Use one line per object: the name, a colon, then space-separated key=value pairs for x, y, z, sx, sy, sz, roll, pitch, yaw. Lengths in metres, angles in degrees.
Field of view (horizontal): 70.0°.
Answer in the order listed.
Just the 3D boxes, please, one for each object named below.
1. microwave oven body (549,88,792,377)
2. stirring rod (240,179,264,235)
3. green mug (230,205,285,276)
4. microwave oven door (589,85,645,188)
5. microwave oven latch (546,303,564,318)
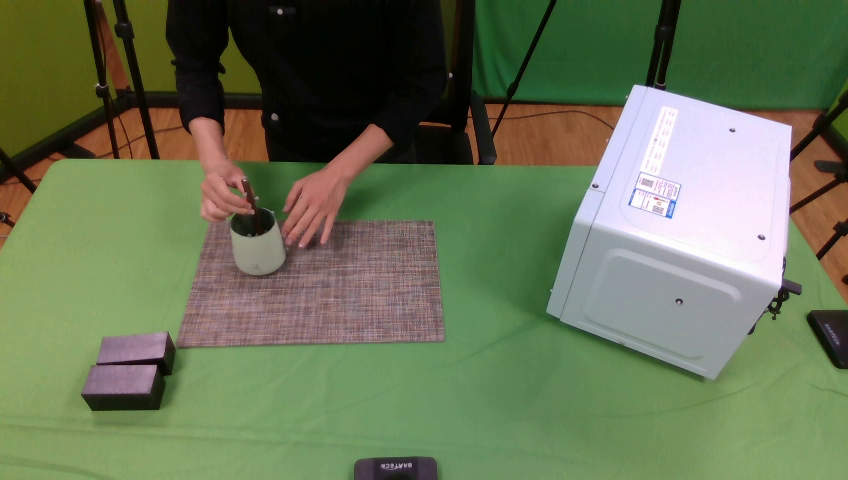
microwave oven body: x=0.456 y=-0.028 z=1.087 sx=0.325 sy=0.261 sz=0.440 roll=20 pitch=47 yaw=16
stirring rod: x=-0.300 y=-0.046 z=1.072 sx=0.014 sy=0.177 sz=0.006 roll=16 pitch=54 yaw=11
green mug: x=-0.311 y=-0.008 z=1.117 sx=0.092 sy=0.105 sz=0.124 roll=-14 pitch=49 yaw=-16
microwave oven door: x=0.342 y=-0.107 z=1.148 sx=0.039 sy=0.245 sz=0.354 roll=20 pitch=48 yaw=15
microwave oven latch: x=0.242 y=0.102 z=1.081 sx=0.030 sy=0.029 sz=0.079 roll=22 pitch=48 yaw=17
